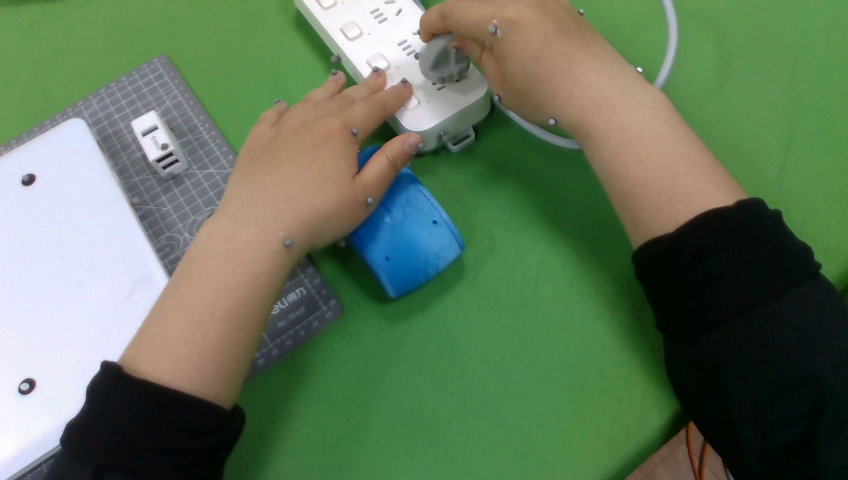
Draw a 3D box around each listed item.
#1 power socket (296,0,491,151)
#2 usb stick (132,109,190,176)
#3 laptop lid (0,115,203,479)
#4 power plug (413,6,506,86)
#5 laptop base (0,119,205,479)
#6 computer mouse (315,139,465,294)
[{"bbox_3d":[-0.031,-0.158,0.474,0.072,0.033,0.224,-32,64,-8],"label":"power socket"},{"bbox_3d":[-0.201,-0.078,0.457,0.021,0.027,0.058,-33,61,-7],"label":"usb stick"},{"bbox_3d":[-0.342,0.079,0.391,0.357,0.013,0.239,-33,66,-9],"label":"laptop lid"},{"bbox_3d":[0.027,-0.130,0.426,0.073,0.053,0.035,-15,61,-19],"label":"power plug"},{"bbox_3d":[-0.342,0.083,0.402,0.354,0.023,0.233,-34,67,-10],"label":"laptop base"},{"bbox_3d":[-0.027,-0.021,0.401,0.063,0.041,0.116,-36,58,-4],"label":"computer mouse"}]
